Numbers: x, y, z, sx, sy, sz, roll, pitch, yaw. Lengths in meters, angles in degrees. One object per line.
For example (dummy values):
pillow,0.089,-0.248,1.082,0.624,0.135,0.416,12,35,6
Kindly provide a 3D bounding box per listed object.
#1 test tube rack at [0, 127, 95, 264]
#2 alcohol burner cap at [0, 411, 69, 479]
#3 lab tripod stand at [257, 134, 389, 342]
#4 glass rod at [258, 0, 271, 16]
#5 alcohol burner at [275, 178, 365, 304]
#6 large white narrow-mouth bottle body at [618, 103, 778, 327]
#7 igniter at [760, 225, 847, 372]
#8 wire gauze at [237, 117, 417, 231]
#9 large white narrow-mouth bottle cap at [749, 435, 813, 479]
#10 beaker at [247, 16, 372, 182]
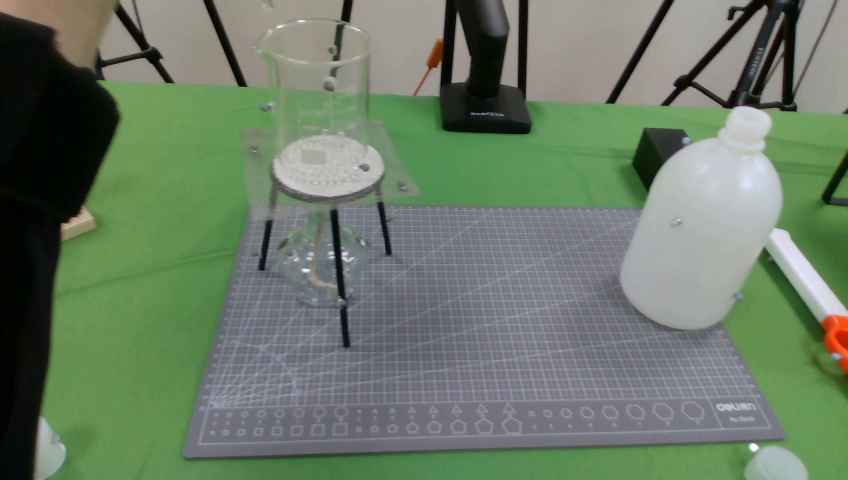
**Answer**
test tube rack,-0.431,-0.011,0.521,0.242,0.086,0.066,-30,51,-35
alcohol burner cap,-0.260,0.134,0.400,0.034,0.048,0.033,5,39,-3
lab tripod stand,-0.080,-0.009,0.514,0.148,0.132,0.147,4,41,-3
glass rod,-0.109,-0.201,0.308,0.008,0.201,0.008,-2,56,3
alcohol burner,-0.090,-0.003,0.521,0.078,0.120,0.077,5,38,-3
large white narrow-mouth bottle body,0.238,-0.023,0.517,0.102,0.196,0.101,2,40,-2
igniter,0.375,0.078,0.546,0.057,0.025,0.273,9,39,-11
wire gauze,-0.079,-0.060,0.473,0.122,0.011,0.123,-10,46,-15
large white narrow-mouth bottle cap,0.258,0.163,0.438,0.038,0.024,0.037,3,40,-2
beaker,-0.081,-0.100,0.444,0.084,0.101,0.073,-4,42,-11
